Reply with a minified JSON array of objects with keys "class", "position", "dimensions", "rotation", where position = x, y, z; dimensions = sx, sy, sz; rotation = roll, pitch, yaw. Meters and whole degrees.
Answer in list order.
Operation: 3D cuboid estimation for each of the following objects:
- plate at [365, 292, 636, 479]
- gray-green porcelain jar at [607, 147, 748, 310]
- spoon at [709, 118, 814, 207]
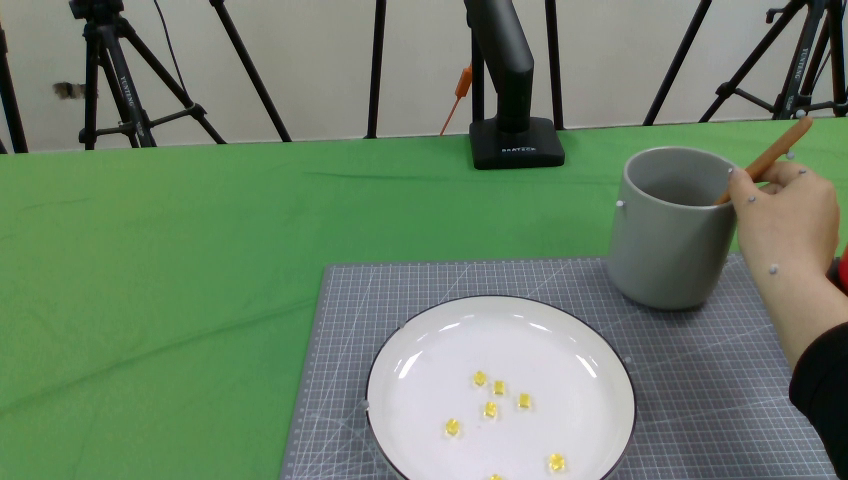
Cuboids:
[{"class":"plate","position":[0.059,0.124,0.483],"dimensions":[0.207,0.039,0.205],"rotation":[-2,38,2]},{"class":"gray-green porcelain jar","position":[0.231,-0.007,0.569],"dimensions":[0.106,0.127,0.105],"rotation":[-2,38,2]},{"class":"spoon","position":[0.258,-0.029,0.526],"dimensions":[0.022,0.195,0.041],"rotation":[16,43,-13]}]
